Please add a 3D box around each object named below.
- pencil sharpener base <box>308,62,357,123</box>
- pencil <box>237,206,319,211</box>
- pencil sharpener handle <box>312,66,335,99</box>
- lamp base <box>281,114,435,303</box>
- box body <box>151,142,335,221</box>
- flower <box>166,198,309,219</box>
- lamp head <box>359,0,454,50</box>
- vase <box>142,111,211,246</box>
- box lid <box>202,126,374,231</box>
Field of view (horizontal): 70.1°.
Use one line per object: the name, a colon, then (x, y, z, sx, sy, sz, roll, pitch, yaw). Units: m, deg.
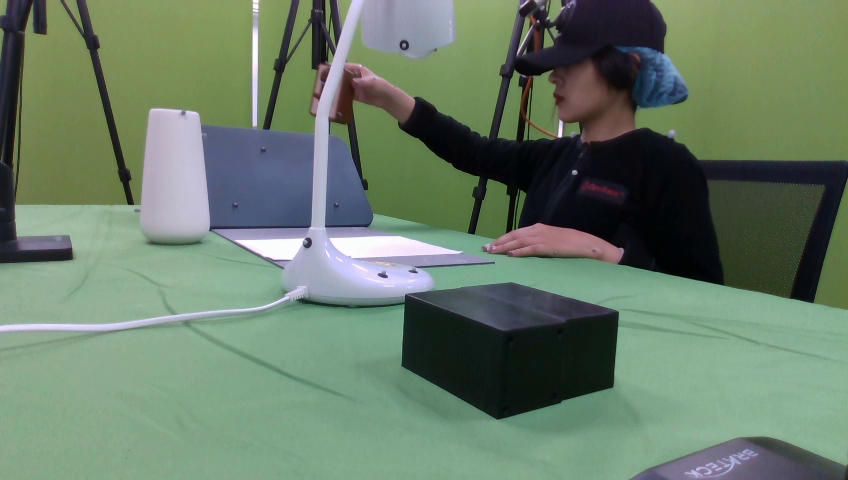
pencil sharpener base: (-0.188, -0.301, 1.237, 0.061, 0.107, 0.077, 15, 6, 15)
pencil: (-0.346, -0.075, 1.435, 0.194, 0.012, 0.012, 0, 7, -2)
pencil sharpener handle: (-0.201, -0.311, 1.187, 0.036, 0.067, 0.031, 18, 7, 15)
lamp base: (-0.071, -0.035, 0.614, 0.160, 0.180, 0.180, 6, 10, 27)
box body: (-0.413, -0.135, 1.379, 0.366, 0.160, 0.253, -2, 9, -31)
flower: (-0.399, -0.061, 1.357, 0.044, 0.038, 0.364, -36, -23, 32)
lamp head: (-0.024, -0.283, 0.674, 0.112, 0.123, 0.112, -3, 38, 3)
vase: (-0.378, -0.093, 0.920, 0.098, 0.200, 0.098, 2, 9, 0)
box lid: (-0.296, -0.127, 1.234, 0.373, 0.262, 0.015, -2, -35, -32)
